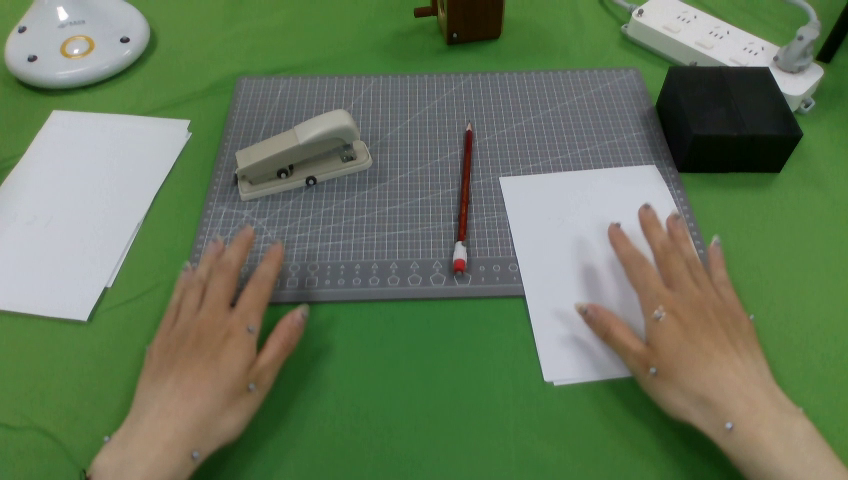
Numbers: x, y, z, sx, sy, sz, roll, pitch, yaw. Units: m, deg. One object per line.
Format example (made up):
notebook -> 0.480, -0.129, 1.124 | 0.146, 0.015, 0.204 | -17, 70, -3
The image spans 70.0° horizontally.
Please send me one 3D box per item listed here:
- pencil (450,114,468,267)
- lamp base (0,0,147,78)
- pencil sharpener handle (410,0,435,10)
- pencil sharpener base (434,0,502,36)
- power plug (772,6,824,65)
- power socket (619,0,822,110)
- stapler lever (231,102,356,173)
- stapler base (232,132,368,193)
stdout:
pencil -> 0.035, -0.055, 0.568 | 0.012, 0.012, 0.192 | 3, 52, 3
lamp base -> -0.413, -0.296, 0.647 | 0.161, 0.182, 0.177 | -27, 55, -19
pencil sharpener handle -> -0.003, -0.290, 0.670 | 0.031, 0.068, 0.035 | -11, 32, -7
pencil sharpener base -> 0.046, -0.296, 0.691 | 0.077, 0.108, 0.060 | -11, 54, -7
power plug -> 0.400, -0.206, 0.638 | 0.072, 0.053, 0.035 | -29, 58, -18
power socket -> 0.328, -0.218, 0.677 | 0.072, 0.033, 0.224 | -37, 61, -25
stapler lever -> -0.121, -0.096, 0.561 | 0.118, 0.040, 0.026 | -17, 53, -11
stapler base -> -0.119, -0.082, 0.581 | 0.131, 0.024, 0.041 | -17, 53, -10
